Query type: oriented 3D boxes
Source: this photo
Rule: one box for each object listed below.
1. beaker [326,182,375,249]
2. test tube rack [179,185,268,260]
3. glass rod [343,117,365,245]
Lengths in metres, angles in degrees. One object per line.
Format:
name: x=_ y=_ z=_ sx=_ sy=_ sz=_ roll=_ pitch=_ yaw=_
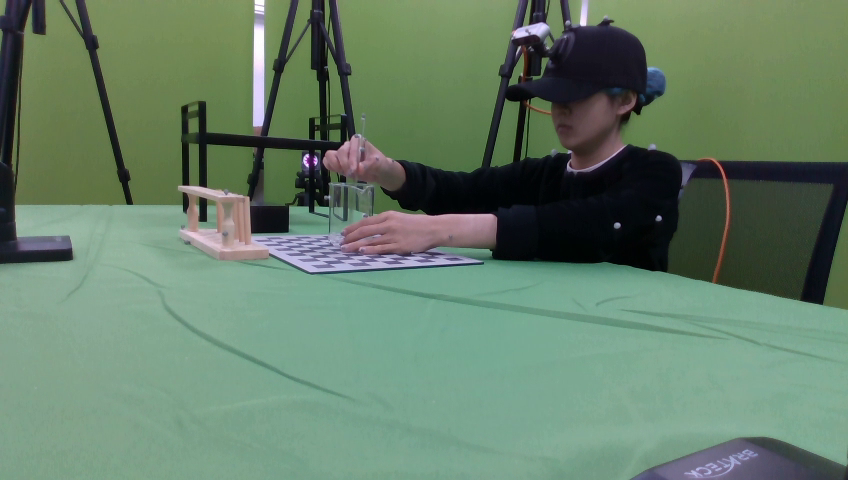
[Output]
beaker: x=-0.114 y=-0.039 z=0.950 sx=0.074 sy=0.100 sz=0.083 roll=-2 pitch=9 yaw=-30
test tube rack: x=-0.303 y=-0.031 z=0.898 sx=0.067 sy=0.085 sz=0.241 roll=-2 pitch=9 yaw=-33
glass rod: x=-0.108 y=-0.090 z=0.928 sx=0.008 sy=0.199 sz=0.008 roll=9 pitch=1 yaw=0
